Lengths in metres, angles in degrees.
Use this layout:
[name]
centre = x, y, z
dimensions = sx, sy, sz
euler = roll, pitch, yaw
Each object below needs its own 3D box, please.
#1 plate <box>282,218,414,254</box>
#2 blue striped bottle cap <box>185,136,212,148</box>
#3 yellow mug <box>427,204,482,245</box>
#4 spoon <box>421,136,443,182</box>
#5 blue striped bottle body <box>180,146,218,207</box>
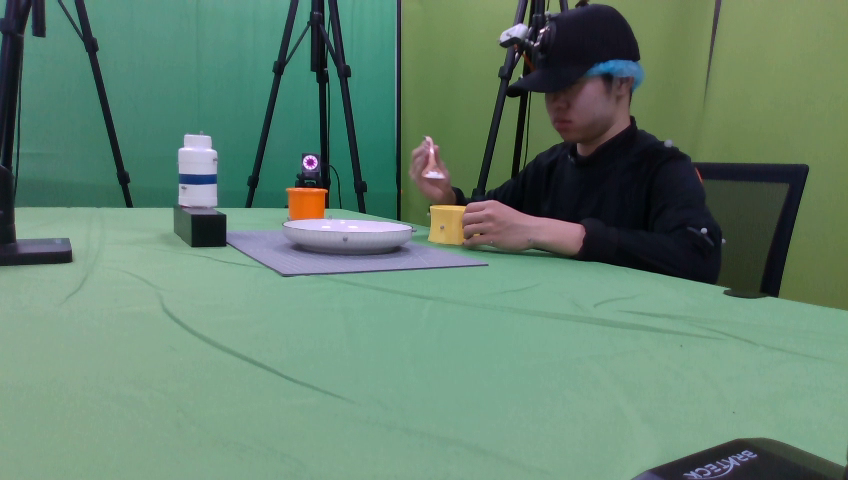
[plate]
centre = -0.121, -0.007, 0.971
dimensions = 0.208, 0.039, 0.207
euler = 2, 7, 0
[blue striped bottle cap]
centre = -0.390, -0.169, 1.047
dimensions = 0.044, 0.020, 0.044
euler = 4, 10, 0
[yellow mug]
centre = 0.062, -0.028, 1.112
dimensions = 0.100, 0.064, 0.130
euler = -1, 9, -20
[spoon]
centre = 0.013, -0.158, 1.151
dimensions = 0.042, 0.021, 0.193
euler = 5, 36, -6
[blue striped bottle body]
centre = -0.392, -0.118, 1.053
dimensions = 0.063, 0.120, 0.063
euler = 2, 8, 0
